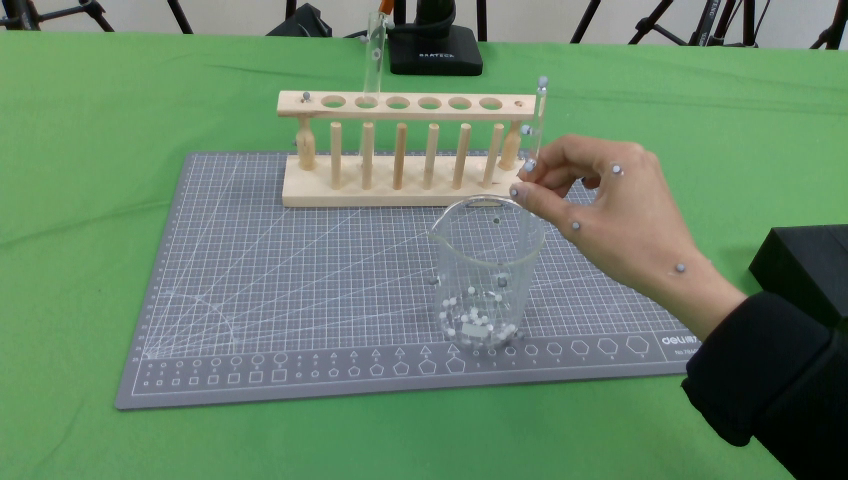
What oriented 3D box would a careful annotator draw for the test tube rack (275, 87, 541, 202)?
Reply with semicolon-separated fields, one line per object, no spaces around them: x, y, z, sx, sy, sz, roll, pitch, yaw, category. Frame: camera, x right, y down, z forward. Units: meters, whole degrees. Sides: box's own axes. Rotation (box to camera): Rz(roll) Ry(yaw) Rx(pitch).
-0.014;-0.090;0.575;0.243;0.086;0.066;-1;44;-7;test tube rack

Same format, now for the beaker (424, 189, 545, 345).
0.040;0.024;0.452;0.084;0.101;0.073;0;43;-4;beaker

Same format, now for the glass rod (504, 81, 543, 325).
0.065;-0.013;0.415;0.008;0.201;0.008;1;38;0;glass rod

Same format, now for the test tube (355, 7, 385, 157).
-0.050;-0.135;0.547;0.017;0.151;0.017;6;45;-6;test tube
